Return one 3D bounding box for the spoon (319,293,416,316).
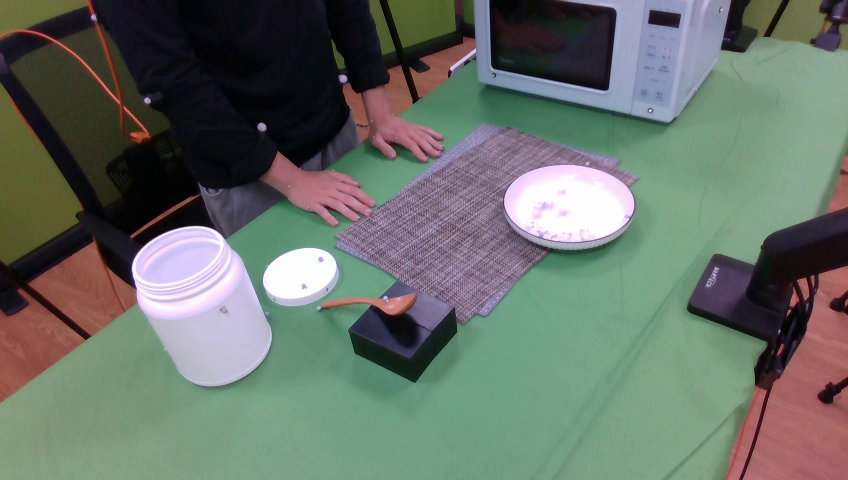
[{"bbox_3d":[-0.082,0.086,0.826,0.192,0.022,0.041,-3,37,41],"label":"spoon"}]

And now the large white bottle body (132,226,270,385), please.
[{"bbox_3d":[-0.286,0.085,0.784,0.130,0.185,0.130,-4,41,4],"label":"large white bottle body"}]

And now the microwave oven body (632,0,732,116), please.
[{"bbox_3d":[0.377,-0.462,1.267,0.438,0.261,0.327,21,48,30],"label":"microwave oven body"}]

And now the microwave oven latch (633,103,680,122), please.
[{"bbox_3d":[0.444,-0.249,1.157,0.078,0.029,0.030,21,49,30],"label":"microwave oven latch"}]

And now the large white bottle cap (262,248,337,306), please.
[{"bbox_3d":[-0.192,0.056,0.934,0.115,0.018,0.114,-4,41,4],"label":"large white bottle cap"}]

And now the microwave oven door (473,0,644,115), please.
[{"bbox_3d":[0.257,-0.396,1.199,0.353,0.245,0.039,21,48,29],"label":"microwave oven door"}]

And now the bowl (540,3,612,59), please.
[{"bbox_3d":[0.323,-0.441,1.298,0.151,0.077,0.150,-4,41,4],"label":"bowl"}]

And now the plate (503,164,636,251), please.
[{"bbox_3d":[0.232,-0.050,0.976,0.209,0.038,0.208,-3,41,3],"label":"plate"}]
